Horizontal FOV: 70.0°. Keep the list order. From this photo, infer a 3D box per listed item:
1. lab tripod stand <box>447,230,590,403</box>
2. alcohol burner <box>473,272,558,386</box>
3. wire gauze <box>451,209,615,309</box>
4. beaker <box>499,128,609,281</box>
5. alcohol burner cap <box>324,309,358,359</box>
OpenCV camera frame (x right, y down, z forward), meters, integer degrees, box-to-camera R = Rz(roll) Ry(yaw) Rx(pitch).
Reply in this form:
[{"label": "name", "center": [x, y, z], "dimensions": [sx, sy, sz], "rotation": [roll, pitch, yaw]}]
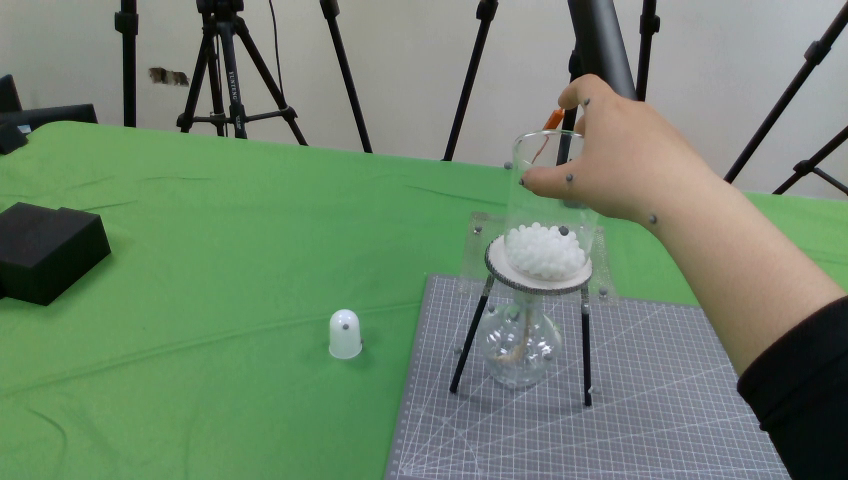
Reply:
[{"label": "lab tripod stand", "center": [0.087, 0.066, 0.540], "dimensions": [0.148, 0.132, 0.147], "rotation": [2, 34, -1]}, {"label": "alcohol burner", "center": [0.085, 0.075, 0.545], "dimensions": [0.078, 0.120, 0.077], "rotation": [4, 37, -3]}, {"label": "wire gauze", "center": [0.089, 0.014, 0.499], "dimensions": [0.121, 0.011, 0.124], "rotation": [5, 37, 6]}, {"label": "beaker", "center": [0.097, -0.024, 0.470], "dimensions": [0.074, 0.101, 0.083], "rotation": [7, 35, 7]}, {"label": "alcohol burner cap", "center": [-0.079, 0.087, 0.578], "dimensions": [0.034, 0.048, 0.033], "rotation": [4, 37, -2]}]
